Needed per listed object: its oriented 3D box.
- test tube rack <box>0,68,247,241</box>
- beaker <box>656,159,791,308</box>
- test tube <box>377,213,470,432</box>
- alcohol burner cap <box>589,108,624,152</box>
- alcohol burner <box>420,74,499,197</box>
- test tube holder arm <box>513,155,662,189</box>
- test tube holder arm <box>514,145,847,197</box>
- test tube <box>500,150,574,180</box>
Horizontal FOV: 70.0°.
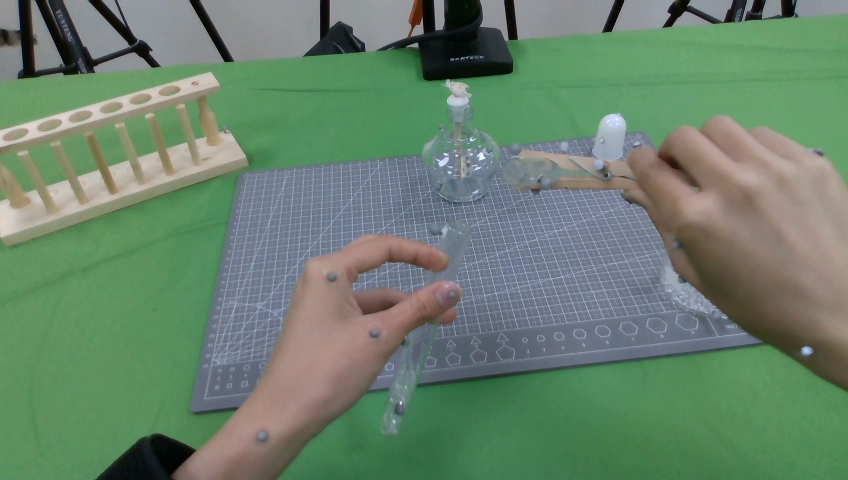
[{"bbox_3d":[-0.317,-0.092,0.618,0.243,0.086,0.066,-23,47,-20],"label":"test tube rack"},{"bbox_3d":[0.224,-0.003,0.474,0.074,0.101,0.083,-27,47,-23],"label":"beaker"},{"bbox_3d":[-0.003,0.053,0.354,0.017,0.151,0.017,15,23,-6],"label":"test tube"},{"bbox_3d":[0.194,-0.117,0.640,0.034,0.048,0.033,-2,43,2],"label":"alcohol burner cap"},{"bbox_3d":[0.033,-0.102,0.581,0.078,0.120,0.077,-3,42,3],"label":"alcohol burner"},{"bbox_3d":[0.092,-0.040,0.347,0.087,0.010,0.015,14,20,37],"label":"test tube holder arm"},{"bbox_3d":[0.126,-0.038,0.318,0.177,0.013,0.015,11,19,38],"label":"test tube holder arm"},{"bbox_3d":[0.084,-0.046,0.379,0.017,0.017,0.151,24,17,27],"label":"test tube"}]
